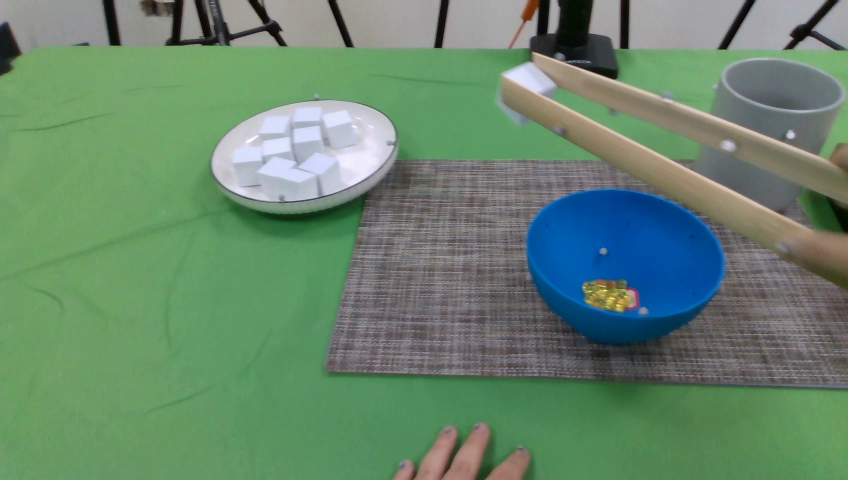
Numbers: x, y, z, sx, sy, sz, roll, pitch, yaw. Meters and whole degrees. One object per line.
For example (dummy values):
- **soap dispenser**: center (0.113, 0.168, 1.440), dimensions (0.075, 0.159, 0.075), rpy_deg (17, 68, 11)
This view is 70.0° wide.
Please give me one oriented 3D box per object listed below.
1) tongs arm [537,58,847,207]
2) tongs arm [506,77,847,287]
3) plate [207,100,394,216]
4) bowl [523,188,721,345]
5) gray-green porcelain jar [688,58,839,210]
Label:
- **tongs arm**: center (0.207, -0.037, 0.366), dimensions (0.050, 0.027, 0.381), rpy_deg (-40, 52, -23)
- **tongs arm**: center (0.188, -0.024, 0.358), dimensions (0.028, 0.028, 0.383), rpy_deg (-34, 50, -23)
- **plate**: center (-0.136, -0.092, 0.687), dimensions (0.209, 0.038, 0.207), rpy_deg (-2, 42, 2)
- **bowl**: center (0.155, 0.033, 0.499), dimensions (0.151, 0.077, 0.150), rpy_deg (-2, 42, 2)
- **gray-green porcelain jar**: center (0.324, -0.097, 0.596), dimensions (0.106, 0.127, 0.105), rpy_deg (-2, 42, 2)
